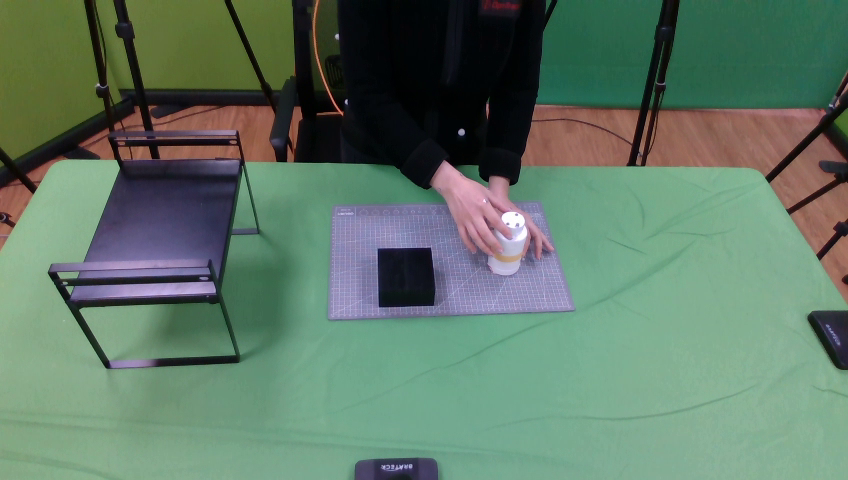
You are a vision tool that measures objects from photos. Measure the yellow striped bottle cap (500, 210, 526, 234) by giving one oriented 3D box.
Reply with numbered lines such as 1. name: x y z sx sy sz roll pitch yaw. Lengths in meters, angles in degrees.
1. yellow striped bottle cap: 0.160 -0.033 1.092 0.044 0.019 0.044 4 48 -4

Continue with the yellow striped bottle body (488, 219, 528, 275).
1. yellow striped bottle body: 0.158 0.004 1.131 0.063 0.121 0.062 2 46 -2
